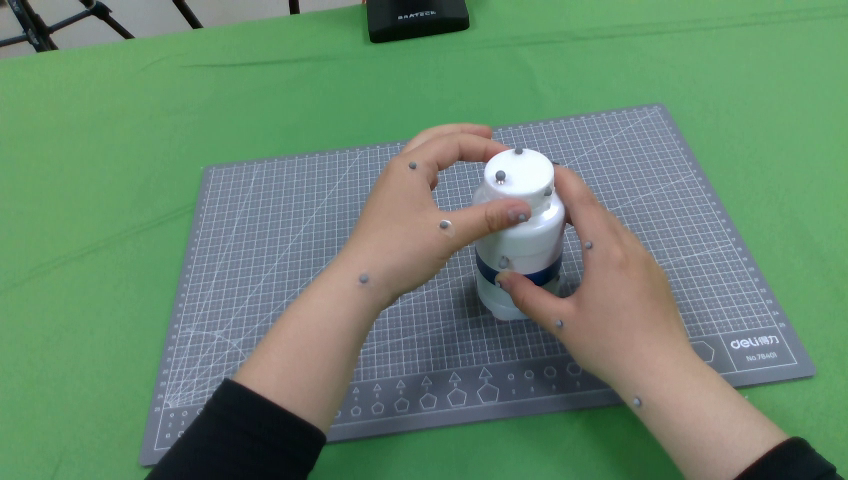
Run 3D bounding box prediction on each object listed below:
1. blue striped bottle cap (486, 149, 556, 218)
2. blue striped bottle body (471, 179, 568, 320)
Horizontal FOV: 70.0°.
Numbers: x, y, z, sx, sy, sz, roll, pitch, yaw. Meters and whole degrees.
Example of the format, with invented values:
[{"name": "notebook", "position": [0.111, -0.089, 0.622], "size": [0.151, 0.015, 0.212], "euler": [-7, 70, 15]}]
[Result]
[{"name": "blue striped bottle cap", "position": [0.060, -0.036, 0.378], "size": [0.044, 0.021, 0.044], "euler": [-6, 48, 7]}, {"name": "blue striped bottle body", "position": [0.065, -0.003, 0.417], "size": [0.063, 0.122, 0.062], "euler": [-4, 49, 5]}]
